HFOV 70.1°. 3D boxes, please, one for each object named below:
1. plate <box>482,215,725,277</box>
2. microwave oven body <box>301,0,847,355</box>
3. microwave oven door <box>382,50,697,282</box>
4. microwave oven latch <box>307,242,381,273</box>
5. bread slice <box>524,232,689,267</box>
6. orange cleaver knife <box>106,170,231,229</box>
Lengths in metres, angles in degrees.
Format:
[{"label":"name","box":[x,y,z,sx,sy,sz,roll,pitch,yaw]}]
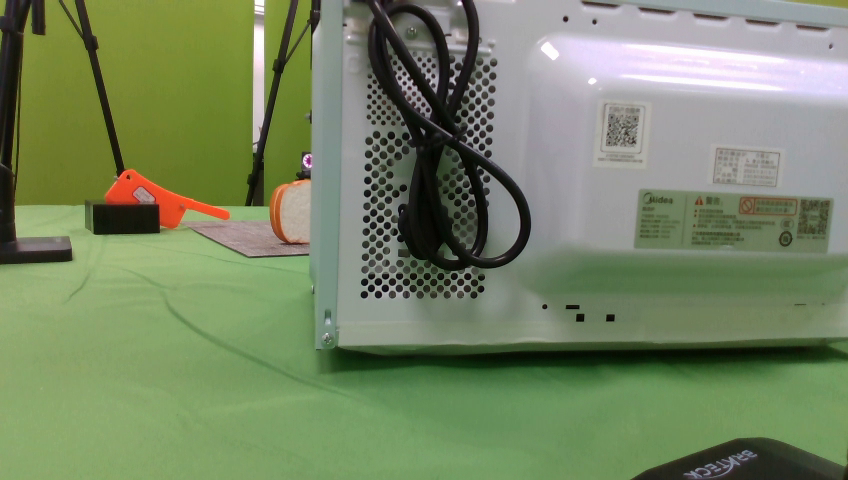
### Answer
[{"label":"plate","box":[0.156,0.003,0.546,0.208,0.039,0.207,-2,6,1]},{"label":"microwave oven body","box":[0.120,-0.053,0.535,0.443,0.260,0.325,2,7,-11]},{"label":"microwave oven door","box":[0.135,-0.077,0.685,0.357,0.243,0.039,1,8,-12]},{"label":"microwave oven latch","box":[-0.086,0.019,0.656,0.079,0.029,0.030,2,7,-10]},{"label":"bread slice","box":[0.174,0.008,0.565,0.134,0.018,0.107,-5,4,28]},{"label":"orange cleaver knife","box":[-0.458,-0.060,1.097,0.212,0.077,0.012,23,-4,-38]}]
